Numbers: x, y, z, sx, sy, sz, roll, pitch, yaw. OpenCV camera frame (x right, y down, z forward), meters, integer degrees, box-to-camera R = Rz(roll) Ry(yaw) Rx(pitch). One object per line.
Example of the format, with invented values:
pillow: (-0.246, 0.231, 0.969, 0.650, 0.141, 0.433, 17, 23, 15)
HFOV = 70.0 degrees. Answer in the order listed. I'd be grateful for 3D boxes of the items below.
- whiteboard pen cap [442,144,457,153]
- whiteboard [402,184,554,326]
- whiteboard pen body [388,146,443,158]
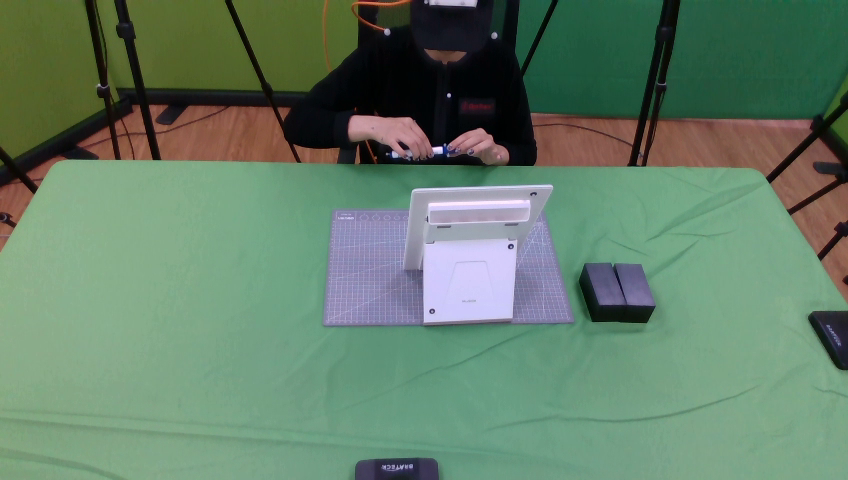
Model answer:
whiteboard pen cap: (0.054, -0.193, 1.284, 0.033, 0.018, 0.018, -5, 46, 5)
whiteboard: (0.081, 0.044, 1.005, 0.217, 0.306, 0.143, -1, 66, -6)
whiteboard pen body: (-0.005, -0.188, 1.288, 0.141, 0.017, 0.017, -4, 46, 4)
